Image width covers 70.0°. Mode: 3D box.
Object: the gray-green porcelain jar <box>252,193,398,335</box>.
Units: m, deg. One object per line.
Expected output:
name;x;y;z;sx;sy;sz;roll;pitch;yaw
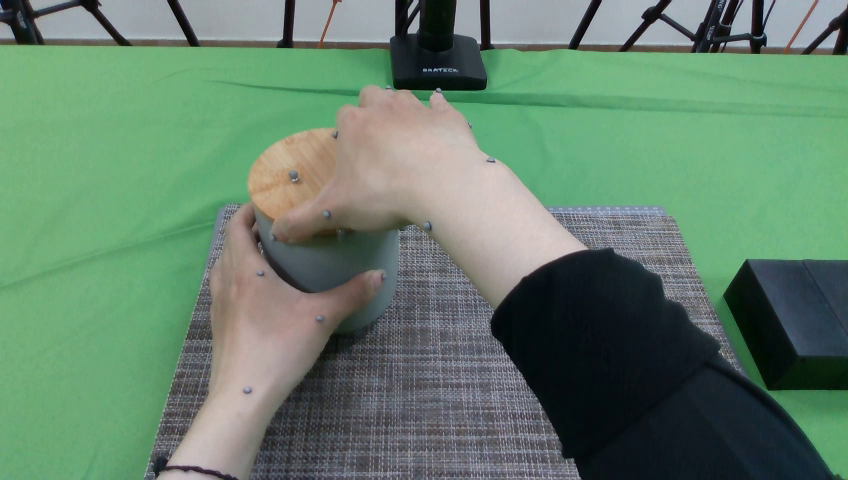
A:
gray-green porcelain jar;-0.075;0.004;0.478;0.106;0.127;0.105;3;46;-2

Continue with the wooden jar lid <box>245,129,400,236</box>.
wooden jar lid;-0.071;-0.040;0.432;0.108;0.021;0.107;2;48;-2
